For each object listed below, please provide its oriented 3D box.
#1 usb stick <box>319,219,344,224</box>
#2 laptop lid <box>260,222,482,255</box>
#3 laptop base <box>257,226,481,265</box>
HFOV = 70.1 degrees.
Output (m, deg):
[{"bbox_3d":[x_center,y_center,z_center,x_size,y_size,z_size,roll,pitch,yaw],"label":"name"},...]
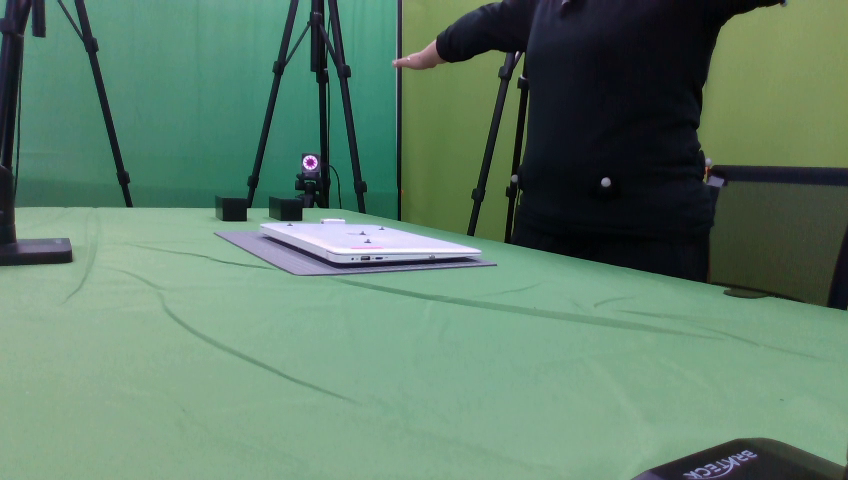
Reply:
[{"bbox_3d":[-0.184,-0.027,1.153,0.059,0.027,0.021,-5,14,-31],"label":"usb stick"},{"bbox_3d":[-0.100,-0.005,0.962,0.243,0.013,0.355,1,7,-30],"label":"laptop lid"},{"bbox_3d":[-0.102,0.007,0.962,0.237,0.023,0.352,2,6,-32],"label":"laptop base"}]
